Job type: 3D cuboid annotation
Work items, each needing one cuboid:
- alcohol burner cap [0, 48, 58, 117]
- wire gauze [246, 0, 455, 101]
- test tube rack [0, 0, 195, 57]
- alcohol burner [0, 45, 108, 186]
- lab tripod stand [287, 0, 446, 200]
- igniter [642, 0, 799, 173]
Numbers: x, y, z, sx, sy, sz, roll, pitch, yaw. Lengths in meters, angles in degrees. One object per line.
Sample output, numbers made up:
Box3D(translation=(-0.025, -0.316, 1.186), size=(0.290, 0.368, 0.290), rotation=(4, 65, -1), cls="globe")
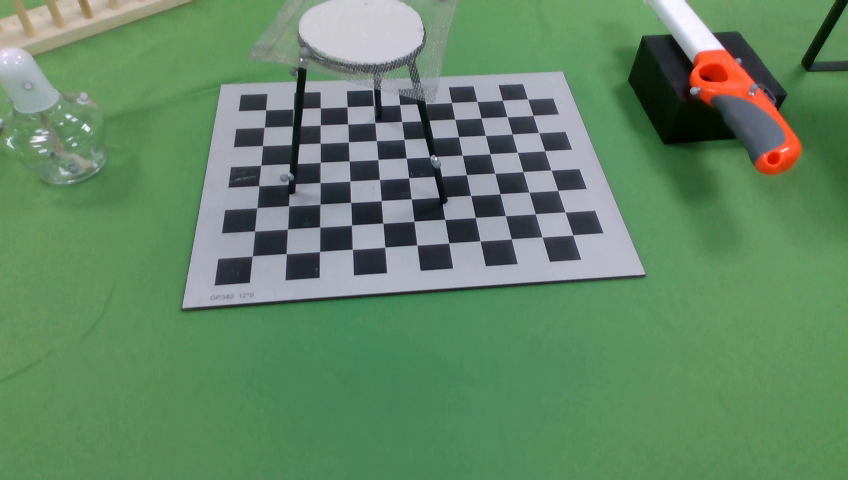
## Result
Box3D(translation=(-0.301, -0.119, 0.452), size=(0.034, 0.048, 0.033), rotation=(-1, 51, 1), cls="alcohol burner cap")
Box3D(translation=(-0.044, -0.145, 0.418), size=(0.125, 0.011, 0.120), rotation=(10, 51, 4), cls="wire gauze")
Box3D(translation=(-0.356, -0.272, 0.632), size=(0.242, 0.086, 0.066), rotation=(-32, 59, -25), cls="test tube rack")
Box3D(translation=(-0.300, -0.101, 0.476), size=(0.078, 0.120, 0.077), rotation=(0, 52, 0), cls="alcohol burner")
Box3D(translation=(-0.042, -0.105, 0.472), size=(0.148, 0.132, 0.147), rotation=(2, 50, -2), cls="lab tripod stand")
Box3D(translation=(0.254, -0.156, 0.538), size=(0.057, 0.025, 0.273), rotation=(-6, 49, -3), cls="igniter")
